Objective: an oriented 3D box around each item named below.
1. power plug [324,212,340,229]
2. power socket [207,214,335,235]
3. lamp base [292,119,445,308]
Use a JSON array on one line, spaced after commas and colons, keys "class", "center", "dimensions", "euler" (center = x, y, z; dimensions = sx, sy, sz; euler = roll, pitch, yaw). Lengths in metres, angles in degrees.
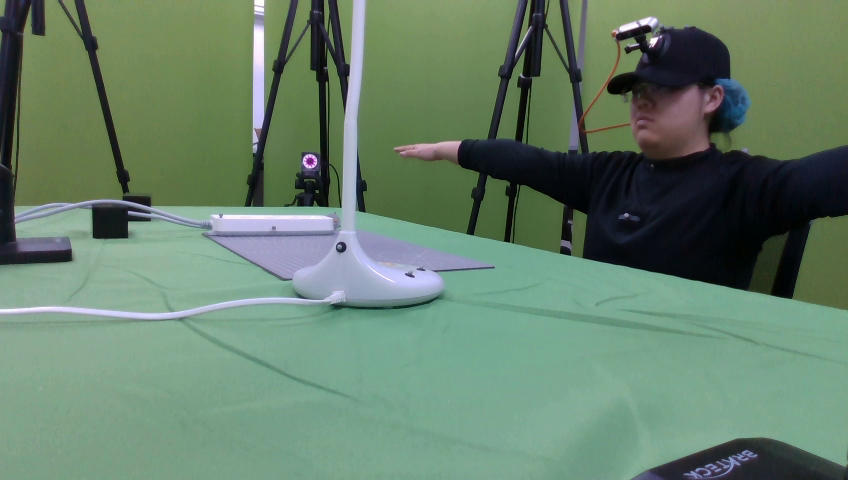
[{"class": "power plug", "center": [-0.200, -0.027, 1.194], "dimensions": [0.072, 0.035, 0.052], "euler": [-35, 12, -12]}, {"class": "power socket", "center": [-0.271, -0.029, 1.086], "dimensions": [0.228, 0.032, 0.072], "euler": [-1, 8, -28]}, {"class": "lamp base", "center": [-0.056, -0.030, 0.616], "dimensions": [0.160, 0.180, 0.179], "euler": [4, 10, 8]}]
